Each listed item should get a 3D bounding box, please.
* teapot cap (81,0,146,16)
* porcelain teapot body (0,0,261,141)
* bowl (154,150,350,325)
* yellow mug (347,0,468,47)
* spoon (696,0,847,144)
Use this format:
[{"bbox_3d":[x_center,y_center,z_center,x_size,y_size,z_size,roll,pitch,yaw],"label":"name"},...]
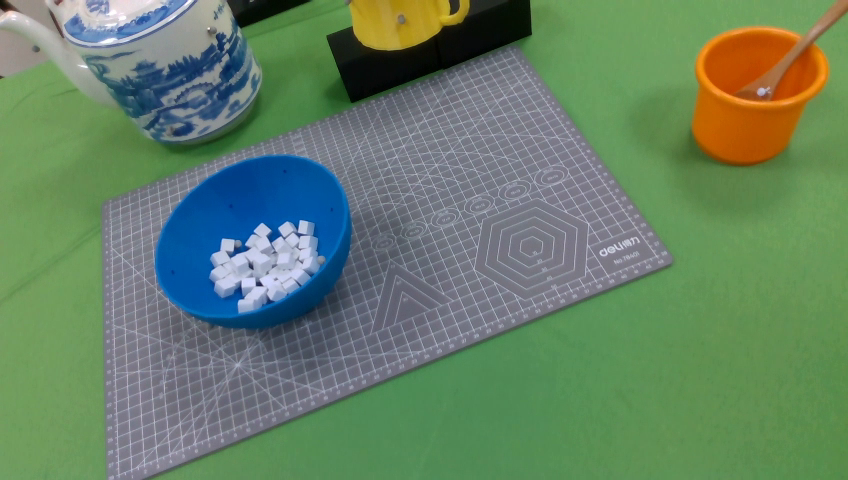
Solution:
[{"bbox_3d":[-0.270,-0.232,0.544,0.085,0.044,0.084,-7,57,11],"label":"teapot cap"},{"bbox_3d":[-0.290,-0.203,0.577,0.205,0.227,0.143,-17,55,2],"label":"porcelain teapot body"},{"bbox_3d":[-0.123,0.010,0.481,0.151,0.077,0.150,-6,55,9],"label":"bowl"},{"bbox_3d":[-0.017,-0.241,0.576,0.130,0.064,0.099,19,63,23],"label":"yellow mug"},{"bbox_3d":[0.285,-0.150,0.457,0.022,0.194,0.041,4,45,-40],"label":"spoon"}]
